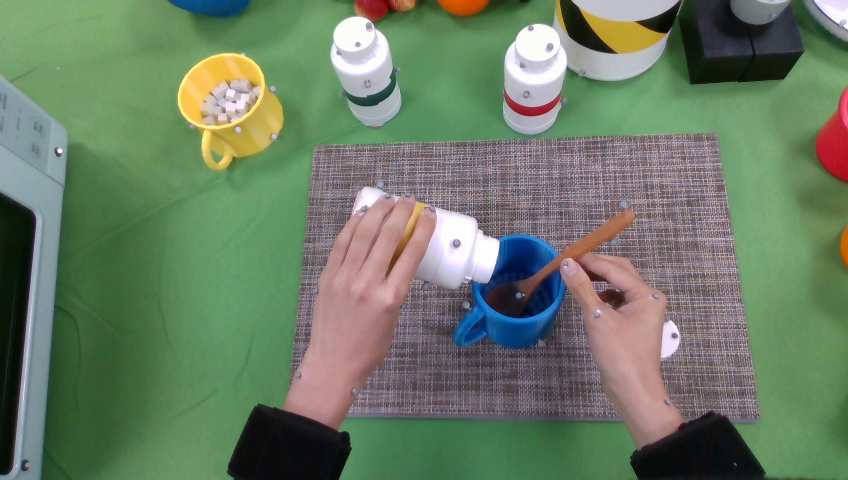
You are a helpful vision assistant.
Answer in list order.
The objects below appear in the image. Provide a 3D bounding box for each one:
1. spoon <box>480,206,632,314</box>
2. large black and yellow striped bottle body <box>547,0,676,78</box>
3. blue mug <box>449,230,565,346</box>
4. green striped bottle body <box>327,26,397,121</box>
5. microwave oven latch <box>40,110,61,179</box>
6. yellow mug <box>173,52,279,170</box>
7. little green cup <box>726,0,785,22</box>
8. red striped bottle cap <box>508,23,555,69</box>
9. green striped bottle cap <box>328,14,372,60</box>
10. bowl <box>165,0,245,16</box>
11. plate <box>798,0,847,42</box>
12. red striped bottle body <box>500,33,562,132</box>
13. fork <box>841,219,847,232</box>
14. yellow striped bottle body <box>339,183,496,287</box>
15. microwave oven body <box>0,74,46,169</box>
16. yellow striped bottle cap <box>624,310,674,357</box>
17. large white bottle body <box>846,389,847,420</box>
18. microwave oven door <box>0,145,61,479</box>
[{"bbox_3d":[0.106,0.025,0.526,0.022,0.194,0.041,-1,63,-32],"label":"spoon"},{"bbox_3d":[0.201,-0.274,0.635,0.130,0.185,0.130,-2,70,6],"label":"large black and yellow striped bottle body"},{"bbox_3d":[0.071,0.058,0.564,0.116,0.106,0.082,-36,70,-8],"label":"blue mug"},{"bbox_3d":[-0.068,-0.188,0.665,0.063,0.120,0.063,-2,69,5],"label":"green striped bottle body"},{"bbox_3d":[-0.440,-0.108,0.698,0.030,0.030,0.078,-8,70,3],"label":"microwave oven latch"},{"bbox_3d":[-0.229,-0.142,0.694,0.100,0.064,0.130,8,72,9],"label":"yellow mug"},{"bbox_3d":[0.352,-0.263,0.639,0.061,0.039,0.061,-1,68,3],"label":"little green cup"},{"bbox_3d":[0.105,-0.190,0.592,0.044,0.018,0.044,-1,68,2],"label":"red striped bottle cap"},{"bbox_3d":[-0.075,-0.207,0.616,0.044,0.020,0.044,-1,71,2],"label":"green striped bottle cap"},{"bbox_3d":[-0.271,-0.340,0.764,0.151,0.077,0.150,-2,70,5],"label":"bowl"},{"bbox_3d":[0.522,-0.297,0.688,0.209,0.038,0.207,-2,70,5],"label":"plate"},{"bbox_3d":[0.112,-0.171,0.640,0.063,0.120,0.062,-3,68,7],"label":"red striped bottle body"},{"bbox_3d":[0.465,0.013,0.521,0.028,0.019,0.205,-38,27,-7],"label":"fork"},{"bbox_3d":[-0.003,-0.001,0.495,0.120,0.063,0.062,16,72,-3],"label":"yellow striped bottle body"},{"bbox_3d":[-0.571,0.046,0.552,0.326,0.262,0.438,-10,70,2],"label":"microwave oven body"},{"bbox_3d":[0.218,0.090,0.586,0.044,0.019,0.044,-2,70,6],"label":"yellow striped bottle cap"},{"bbox_3d":[0.436,0.131,0.461,0.130,0.186,0.129,-2,69,5],"label":"large white bottle body"},{"bbox_3d":[-0.421,0.059,0.527,0.039,0.245,0.353,-10,69,3],"label":"microwave oven door"}]
